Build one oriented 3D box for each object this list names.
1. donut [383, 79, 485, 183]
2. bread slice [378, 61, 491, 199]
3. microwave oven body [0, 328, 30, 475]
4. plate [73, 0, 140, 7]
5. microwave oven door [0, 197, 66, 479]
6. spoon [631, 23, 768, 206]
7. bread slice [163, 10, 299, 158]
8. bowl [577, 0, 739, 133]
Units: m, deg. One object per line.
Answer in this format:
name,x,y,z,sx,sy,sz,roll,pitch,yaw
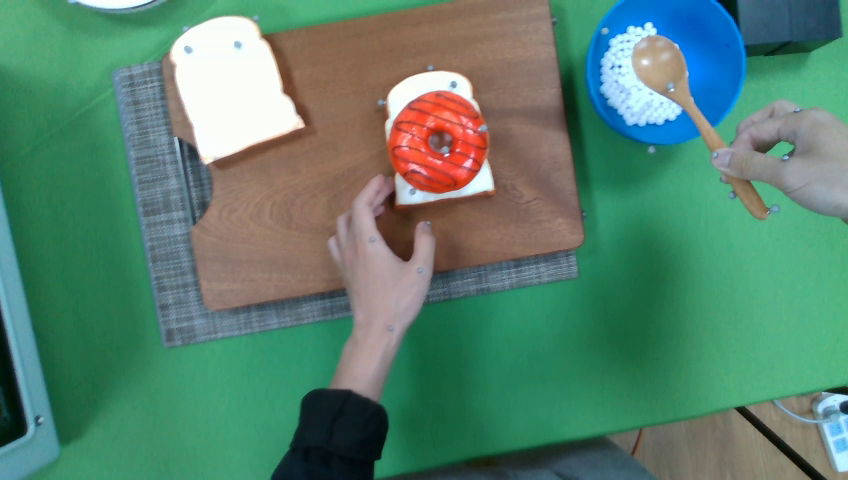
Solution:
donut,0.009,-0.104,0.581,0.099,0.048,0.099,0,94,0
bread slice,0.005,-0.113,0.611,0.105,0.019,0.131,-11,94,0
microwave oven body,-0.589,0.048,0.524,0.326,0.260,0.442,-13,93,0
plate,-0.325,-0.341,0.620,0.208,0.039,0.207,0,93,0
microwave oven door,-0.437,0.057,0.519,0.039,0.243,0.356,-13,92,1
spoon,0.219,-0.106,0.487,0.041,0.022,0.191,-23,57,11
bread slice,-0.201,-0.159,0.608,0.107,0.018,0.134,-25,91,1
bowl,0.221,-0.177,0.605,0.151,0.077,0.151,0,93,1
